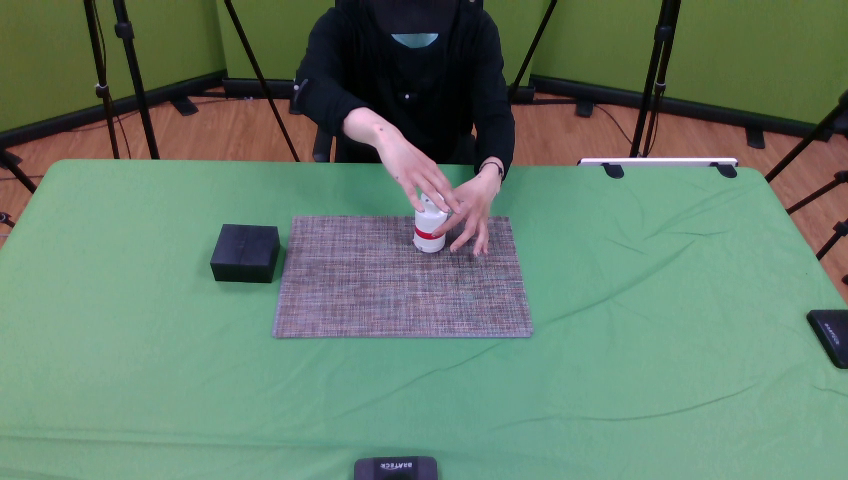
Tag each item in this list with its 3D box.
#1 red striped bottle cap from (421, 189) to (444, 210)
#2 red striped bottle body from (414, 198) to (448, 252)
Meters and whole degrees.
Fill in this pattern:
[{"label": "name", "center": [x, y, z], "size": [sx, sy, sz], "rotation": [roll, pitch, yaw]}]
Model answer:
[{"label": "red striped bottle cap", "center": [0.016, -0.076, 1.119], "size": [0.044, 0.018, 0.044], "rotation": [0, 43, 0]}, {"label": "red striped bottle body", "center": [0.013, -0.038, 1.159], "size": [0.063, 0.120, 0.062], "rotation": [1, 46, -1]}]
